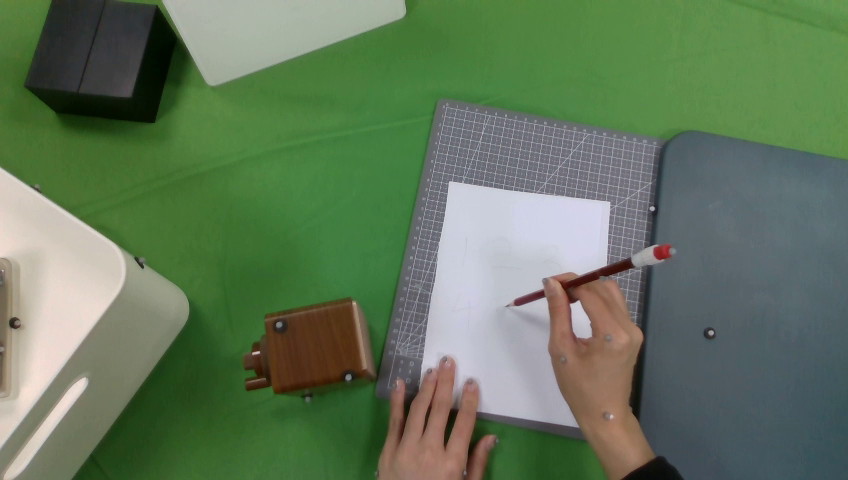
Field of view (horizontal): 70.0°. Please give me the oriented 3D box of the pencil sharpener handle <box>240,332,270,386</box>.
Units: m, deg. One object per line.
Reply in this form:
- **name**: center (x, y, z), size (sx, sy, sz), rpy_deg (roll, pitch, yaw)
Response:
- **pencil sharpener handle**: center (-0.135, 0.099, 0.478), size (0.031, 0.068, 0.035), rpy_deg (-11, 59, -4)

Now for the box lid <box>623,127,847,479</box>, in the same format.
- **box lid**: center (0.330, 0.079, 0.559), size (0.263, 0.015, 0.369), rpy_deg (11, 76, 0)

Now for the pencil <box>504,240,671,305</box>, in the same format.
- **pencil**: center (0.115, 0.031, 0.474), size (0.012, 0.194, 0.012), rpy_deg (8, 70, -24)

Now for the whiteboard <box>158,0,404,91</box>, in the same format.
- **whiteboard**: center (-0.162, -0.326, 0.531), size (0.217, 0.308, 0.142), rpy_deg (-22, 57, -7)

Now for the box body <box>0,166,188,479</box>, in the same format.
- **box body**: center (-0.408, 0.044, 0.469), size (0.363, 0.161, 0.253), rpy_deg (31, 77, 6)

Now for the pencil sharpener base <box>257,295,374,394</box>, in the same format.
- **pencil sharpener base**: center (-0.086, 0.089, 0.495), size (0.077, 0.107, 0.061), rpy_deg (-11, 76, -4)

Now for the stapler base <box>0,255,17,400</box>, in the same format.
- **stapler base**: center (-0.383, 0.075, 0.527), size (0.041, 0.024, 0.130), rpy_deg (-9, 78, -2)
